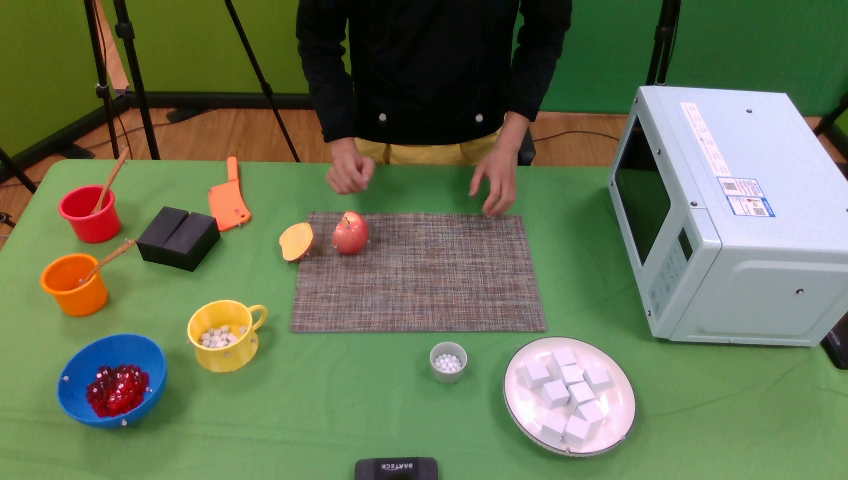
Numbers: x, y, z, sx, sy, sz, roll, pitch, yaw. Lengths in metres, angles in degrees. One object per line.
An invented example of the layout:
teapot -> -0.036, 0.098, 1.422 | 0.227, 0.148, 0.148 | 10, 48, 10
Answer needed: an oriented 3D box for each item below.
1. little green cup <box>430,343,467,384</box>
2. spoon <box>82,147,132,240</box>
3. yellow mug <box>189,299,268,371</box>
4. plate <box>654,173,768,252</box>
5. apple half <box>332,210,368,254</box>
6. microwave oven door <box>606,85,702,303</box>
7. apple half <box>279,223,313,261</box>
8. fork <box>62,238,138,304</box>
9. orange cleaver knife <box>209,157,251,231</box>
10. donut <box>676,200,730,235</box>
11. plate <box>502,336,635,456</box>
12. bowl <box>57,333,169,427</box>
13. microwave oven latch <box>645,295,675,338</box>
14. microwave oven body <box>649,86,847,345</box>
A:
little green cup -> 0.039, 0.203, 0.993 | 0.061, 0.039, 0.061 | 2, 46, -2
spoon -> -0.602, -0.089, 1.156 | 0.041, 0.022, 0.193 | 27, 95, 20
yellow mug -> -0.316, 0.148, 1.002 | 0.131, 0.064, 0.099 | -33, 56, -31
plate -> 0.555, -0.049, 1.187 | 0.209, 0.038, 0.208 | 1, 47, -1
apple half -> -0.136, -0.010, 1.158 | 0.053, 0.075, 0.080 | 17, 43, 7
microwave oven door -> 0.423, -0.094, 1.140 | 0.039, 0.245, 0.353 | 2, 46, -1
apple half -> -0.236, 0.007, 1.157 | 0.081, 0.033, 0.081 | -15, 57, 24
fork -> -0.547, 0.053, 1.018 | 0.207, 0.019, 0.028 | -36, 41, 23
orange cleaver knife -> -0.409, -0.099, 1.265 | 0.077, 0.012, 0.210 | -14, 50, -9
donut -> 0.538, -0.045, 1.170 | 0.099, 0.048, 0.098 | 3, 33, -2
plate -> 0.225, 0.248, 0.964 | 0.208, 0.039, 0.206 | 2, 46, -2
bowl -> -0.456, 0.223, 0.912 | 0.151, 0.077, 0.150 | 3, 45, -3
microwave oven latch -> 0.412, 0.134, 1.061 | 0.030, 0.029, 0.078 | 3, 45, 0
microwave oven body -> 0.568, -0.053, 1.118 | 0.326, 0.261, 0.439 | 2, 45, -1
